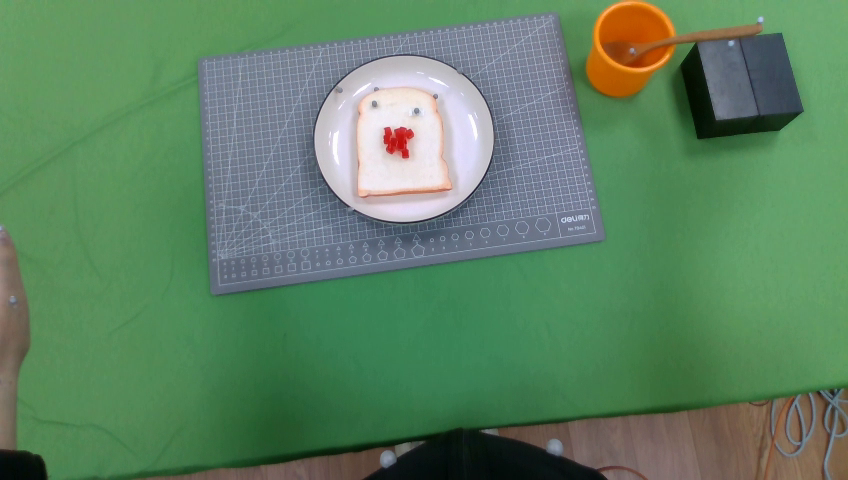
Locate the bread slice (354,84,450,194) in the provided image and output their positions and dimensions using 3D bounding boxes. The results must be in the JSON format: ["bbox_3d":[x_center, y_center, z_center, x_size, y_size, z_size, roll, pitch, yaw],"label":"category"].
[{"bbox_3d":[-0.032,-0.117,0.703,0.107,0.018,0.133,-7,76,-2],"label":"bread slice"}]

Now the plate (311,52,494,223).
[{"bbox_3d":[-0.024,-0.117,0.702,0.209,0.038,0.208,0,76,1],"label":"plate"}]

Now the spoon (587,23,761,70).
[{"bbox_3d":[0.267,-0.217,0.670,0.022,0.192,0.041,33,73,-37],"label":"spoon"}]
